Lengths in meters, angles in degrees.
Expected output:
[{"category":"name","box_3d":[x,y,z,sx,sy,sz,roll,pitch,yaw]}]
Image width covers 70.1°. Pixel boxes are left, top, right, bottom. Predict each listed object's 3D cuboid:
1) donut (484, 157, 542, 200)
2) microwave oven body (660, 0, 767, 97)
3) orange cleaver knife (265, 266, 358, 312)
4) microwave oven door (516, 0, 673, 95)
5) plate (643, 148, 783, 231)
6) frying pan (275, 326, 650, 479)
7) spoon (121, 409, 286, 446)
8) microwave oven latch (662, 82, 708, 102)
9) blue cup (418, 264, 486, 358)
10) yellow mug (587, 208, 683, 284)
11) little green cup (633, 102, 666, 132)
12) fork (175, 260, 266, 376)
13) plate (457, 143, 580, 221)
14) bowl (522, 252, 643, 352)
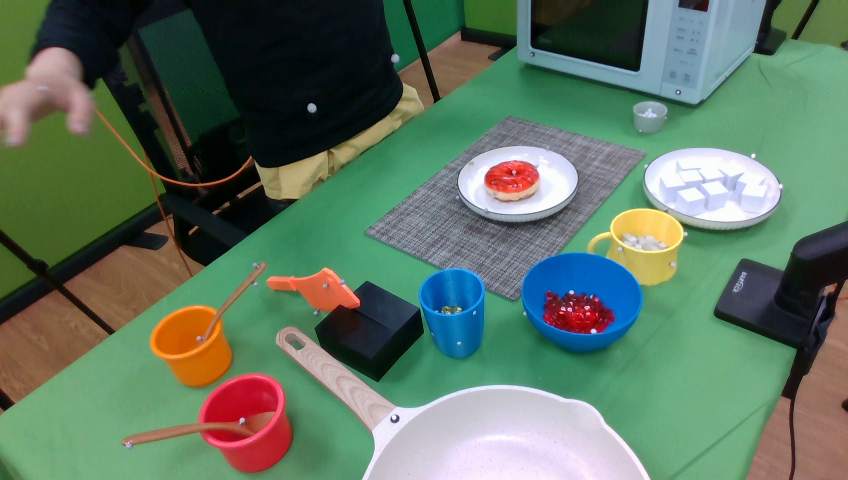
[{"category":"donut","box_3d":[0.152,-0.107,1.039,0.099,0.048,0.098,-5,37,5]},{"category":"microwave oven body","box_3d":[0.473,-0.516,1.313,0.438,0.261,0.327,26,51,34]},{"category":"orange cleaver knife","box_3d":[-0.164,0.073,0.864,0.210,0.077,0.012,-6,31,50]},{"category":"microwave oven door","box_3d":[0.344,-0.458,1.256,0.353,0.245,0.039,26,51,33]},{"category":"plate","box_3d":[0.464,-0.080,0.986,0.207,0.039,0.206,-4,40,4]},{"category":"frying pan","box_3d":[0.003,0.229,0.641,0.484,0.103,0.308,34,54,28]},{"category":"spoon","box_3d":[-0.236,0.207,0.670,0.041,0.021,0.195,35,12,38]},{"category":"microwave oven latch","box_3d":[0.517,-0.298,1.202,0.078,0.029,0.030,28,52,35]},{"category":"blue cup","box_3d":[0.042,0.100,0.787,0.092,0.101,0.092,-5,41,5]},{"category":"yellow mug","box_3d":[0.305,0.009,0.884,0.131,0.064,0.099,-4,40,5]},{"category":"little green cup","box_3d":[0.434,-0.238,1.171,0.061,0.039,0.061,-5,39,4]},{"category":"fork","box_3d":[-0.268,0.103,0.792,0.207,0.019,0.028,-51,41,16]},{"category":"plate","box_3d":[0.161,-0.097,1.042,0.209,0.038,0.208,-4,40,4]},{"category":"bowl","box_3d":[0.204,0.093,0.792,0.151,0.077,0.150,-4,40,4]}]
